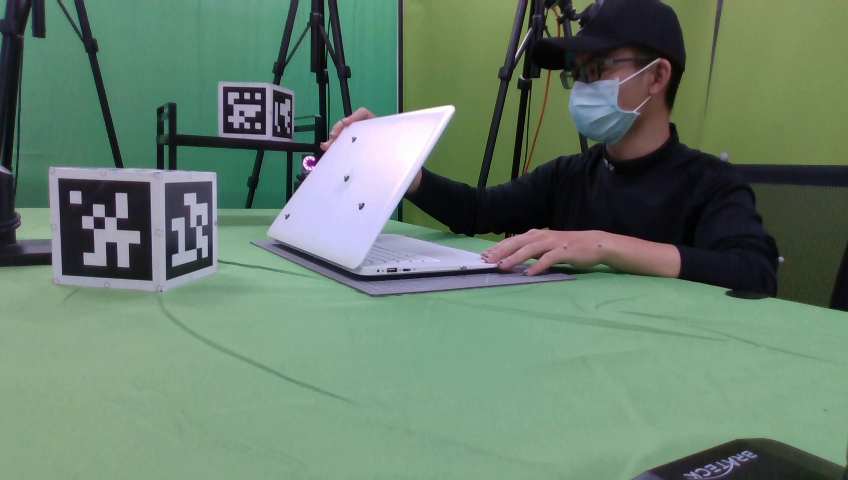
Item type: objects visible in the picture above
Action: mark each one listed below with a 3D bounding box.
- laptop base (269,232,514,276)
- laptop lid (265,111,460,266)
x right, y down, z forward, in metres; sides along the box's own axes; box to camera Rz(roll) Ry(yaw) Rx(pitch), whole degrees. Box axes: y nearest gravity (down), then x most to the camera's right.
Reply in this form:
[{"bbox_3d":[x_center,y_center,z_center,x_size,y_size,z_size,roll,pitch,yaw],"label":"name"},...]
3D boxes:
[{"bbox_3d":[-0.066,0.017,0.893,0.237,0.023,0.352,2,6,-32],"label":"laptop base"},{"bbox_3d":[-0.106,-0.084,0.852,0.013,0.241,0.355,41,-13,-28],"label":"laptop lid"}]
